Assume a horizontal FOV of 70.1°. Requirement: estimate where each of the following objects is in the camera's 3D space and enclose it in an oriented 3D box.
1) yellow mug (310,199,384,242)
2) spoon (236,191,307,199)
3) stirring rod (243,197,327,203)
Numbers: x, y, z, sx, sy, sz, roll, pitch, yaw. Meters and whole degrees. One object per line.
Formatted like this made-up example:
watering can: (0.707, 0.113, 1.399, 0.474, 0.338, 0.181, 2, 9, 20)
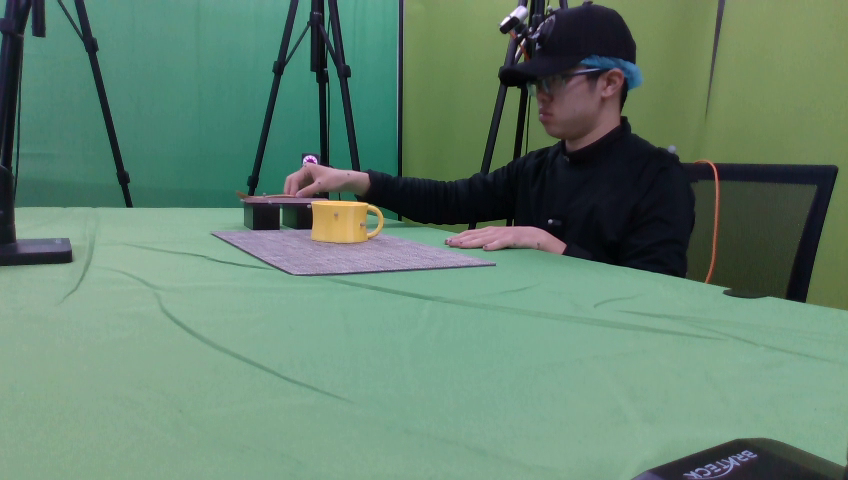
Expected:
yellow mug: (-0.132, -0.035, 1.054, 0.131, 0.064, 0.099, 0, 8, -23)
spoon: (-0.290, -0.088, 1.248, 0.195, 0.021, 0.041, 0, 1, -32)
stirring rod: (-0.271, -0.079, 1.201, 0.177, 0.006, 0.014, -2, 46, -36)
